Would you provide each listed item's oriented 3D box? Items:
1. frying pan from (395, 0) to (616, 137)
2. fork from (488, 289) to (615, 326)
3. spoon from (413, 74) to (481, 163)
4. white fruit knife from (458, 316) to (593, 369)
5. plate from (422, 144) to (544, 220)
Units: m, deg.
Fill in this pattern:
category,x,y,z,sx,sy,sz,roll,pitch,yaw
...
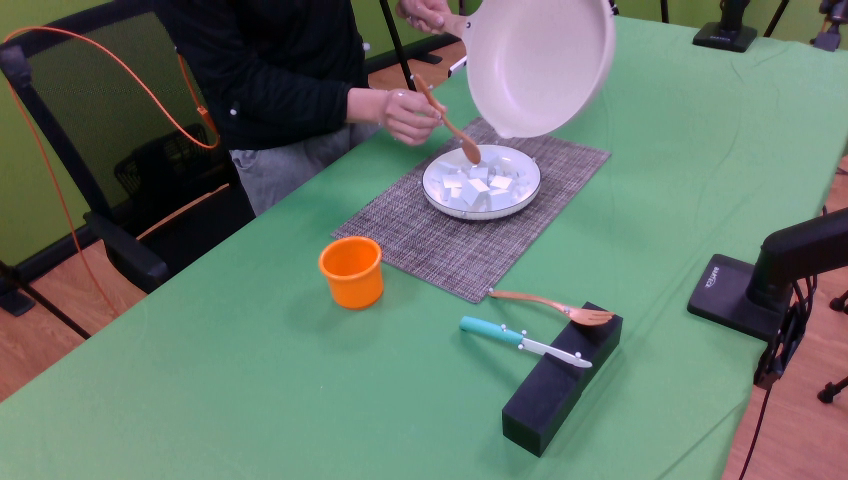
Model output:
category,x,y,z,sx,sy,sz,roll,pitch,yaw
frying pan,0.124,-0.366,1.081,0.484,0.307,0.103,30,24,31
fork,0.160,0.086,0.800,0.205,0.019,0.028,12,48,48
spoon,0.038,-0.191,0.968,0.041,0.195,0.021,20,71,48
white fruit knife,0.120,0.127,0.757,0.205,0.027,0.016,12,45,43
plate,0.102,-0.097,1.048,0.207,0.039,0.206,-4,40,4
